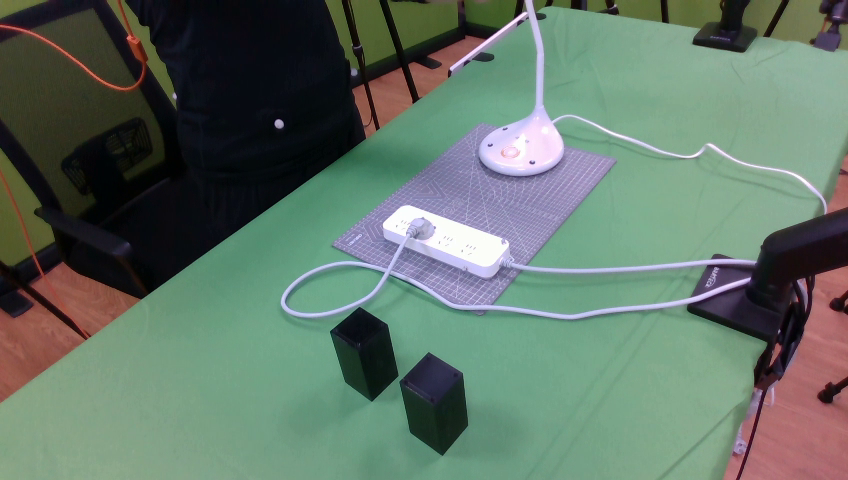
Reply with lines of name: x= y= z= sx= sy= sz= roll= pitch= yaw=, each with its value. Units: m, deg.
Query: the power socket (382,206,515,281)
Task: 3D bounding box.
power socket: x=0.032 y=0.002 z=0.950 sx=0.225 sy=0.033 sz=0.072 roll=21 pitch=49 yaw=29

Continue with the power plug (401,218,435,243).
power plug: x=-0.014 y=-0.005 z=0.937 sx=0.073 sy=0.053 sz=0.035 roll=-37 pitch=47 yaw=-27

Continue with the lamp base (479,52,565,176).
lamp base: x=0.181 y=-0.235 z=1.094 sx=0.159 sy=0.181 sz=0.179 roll=18 pitch=44 yaw=27
